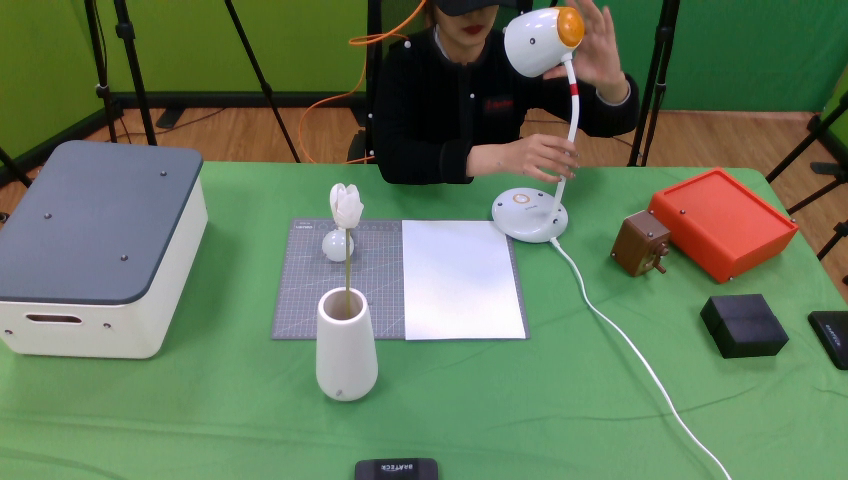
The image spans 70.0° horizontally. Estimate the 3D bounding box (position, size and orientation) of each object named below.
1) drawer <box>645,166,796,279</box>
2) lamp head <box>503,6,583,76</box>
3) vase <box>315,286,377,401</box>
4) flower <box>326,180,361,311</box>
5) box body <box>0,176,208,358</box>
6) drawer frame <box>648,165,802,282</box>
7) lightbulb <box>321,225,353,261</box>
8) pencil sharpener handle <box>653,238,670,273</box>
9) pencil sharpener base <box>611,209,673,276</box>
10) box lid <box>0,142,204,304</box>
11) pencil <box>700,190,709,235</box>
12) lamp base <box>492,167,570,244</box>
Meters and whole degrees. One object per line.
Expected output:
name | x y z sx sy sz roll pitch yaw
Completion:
drawer | 0.600 -0.040 1.236 0.195 0.073 0.210 -21 52 -23
lamp head | 0.218 -0.353 1.064 0.112 0.113 0.122 -30 18 -29
vase | -0.119 0.159 0.911 0.098 0.201 0.097 2 47 -2
flower | -0.110 0.086 0.867 0.044 0.363 0.038 22 34 35
box body | -0.546 0.017 1.045 0.254 0.161 0.361 2 46 -2
drawer frame | 0.603 -0.040 1.233 0.202 0.083 0.212 -21 51 -23
lightbulb | -0.163 -0.001 1.164 0.059 0.060 0.107 4 30 0
pencil sharpener handle | 0.444 0.030 1.120 0.036 0.068 0.030 -25 52 -18
pencil sharpener base | 0.416 0.007 1.158 0.061 0.107 0.076 -21 51 -22
box lid | -0.534 -0.044 0.995 0.263 0.015 0.369 3 45 -3
pencil | 0.583 -0.058 1.256 0.012 0.012 0.193 16 35 12
lamp base | 0.234 -0.102 1.200 0.161 0.181 0.178 -24 54 -26
